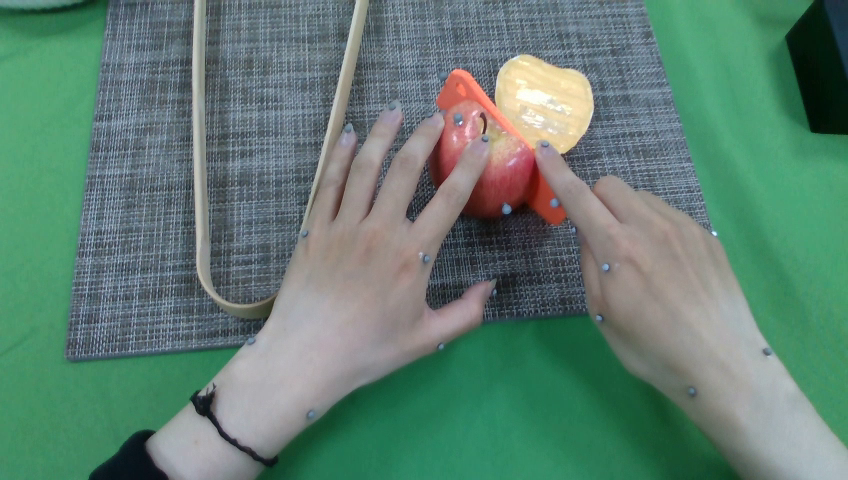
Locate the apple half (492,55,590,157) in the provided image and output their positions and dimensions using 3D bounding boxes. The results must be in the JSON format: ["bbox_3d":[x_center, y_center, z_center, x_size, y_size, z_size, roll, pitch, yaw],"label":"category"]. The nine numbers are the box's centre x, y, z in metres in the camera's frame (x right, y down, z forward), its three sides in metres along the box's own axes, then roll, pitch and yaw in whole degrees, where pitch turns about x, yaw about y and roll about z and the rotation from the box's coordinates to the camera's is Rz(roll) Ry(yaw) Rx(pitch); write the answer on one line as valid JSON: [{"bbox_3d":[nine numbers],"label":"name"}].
[{"bbox_3d":[0.083,-0.096,0.460,0.081,0.033,0.081,2,80,-10],"label":"apple half"}]

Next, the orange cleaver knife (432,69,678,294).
[{"bbox_3d":[0.079,-0.037,0.411,0.012,0.077,0.210,-41,77,-15],"label":"orange cleaver knife"}]

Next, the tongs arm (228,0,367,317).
[{"bbox_3d":[-0.081,-0.127,0.466,0.051,0.027,0.382,6,68,-1],"label":"tongs arm"}]

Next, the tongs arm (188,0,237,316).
[{"bbox_3d":[-0.166,-0.128,0.464,0.028,0.028,0.384,-6,68,-9],"label":"tongs arm"}]

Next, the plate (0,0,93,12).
[{"bbox_3d":[-0.316,-0.270,0.515,0.209,0.038,0.207,1,67,-2],"label":"plate"}]

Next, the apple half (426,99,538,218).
[{"bbox_3d":[0.031,-0.047,0.415,0.053,0.075,0.080,-42,78,-14],"label":"apple half"}]
